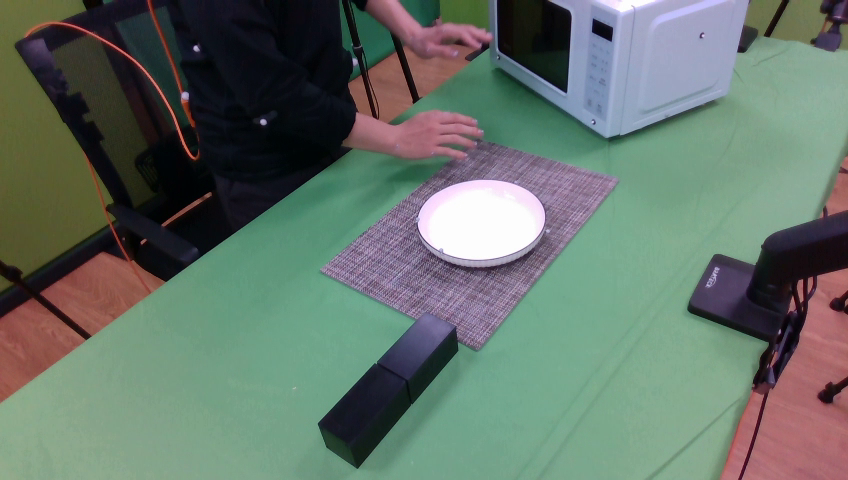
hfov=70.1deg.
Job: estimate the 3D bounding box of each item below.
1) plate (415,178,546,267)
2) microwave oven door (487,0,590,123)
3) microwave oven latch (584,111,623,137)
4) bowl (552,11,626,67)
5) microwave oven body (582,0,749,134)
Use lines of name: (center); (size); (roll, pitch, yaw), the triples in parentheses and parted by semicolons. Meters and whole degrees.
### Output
plate: (0.091, -0.026, 0.970); (0.207, 0.039, 0.206); (-4, 41, 4)
microwave oven door: (0.232, -0.420, 1.231); (0.039, 0.245, 0.352); (-22, 43, -16)
microwave oven latch: (0.337, -0.222, 1.142); (0.030, 0.029, 0.078); (-21, 42, -14)
bowl: (0.343, -0.418, 1.278); (0.151, 0.077, 0.150); (-1, 41, 1)
microwave oven body: (0.382, -0.444, 1.246); (0.327, 0.261, 0.437); (-22, 42, -16)
